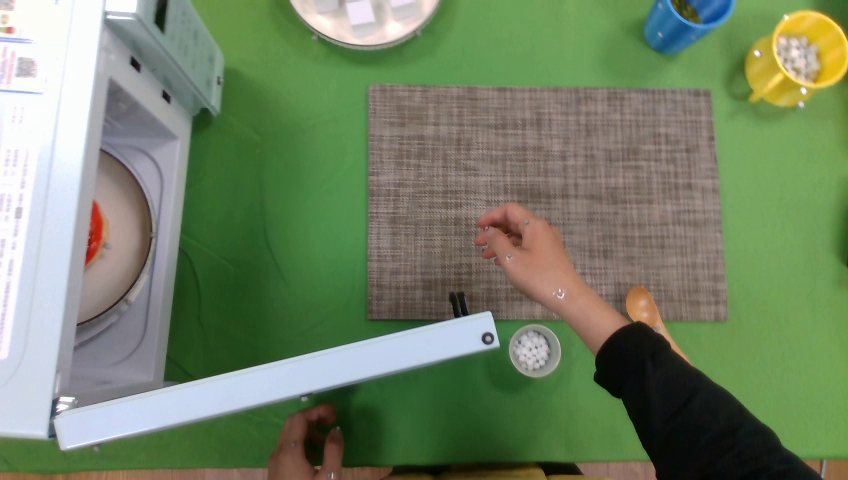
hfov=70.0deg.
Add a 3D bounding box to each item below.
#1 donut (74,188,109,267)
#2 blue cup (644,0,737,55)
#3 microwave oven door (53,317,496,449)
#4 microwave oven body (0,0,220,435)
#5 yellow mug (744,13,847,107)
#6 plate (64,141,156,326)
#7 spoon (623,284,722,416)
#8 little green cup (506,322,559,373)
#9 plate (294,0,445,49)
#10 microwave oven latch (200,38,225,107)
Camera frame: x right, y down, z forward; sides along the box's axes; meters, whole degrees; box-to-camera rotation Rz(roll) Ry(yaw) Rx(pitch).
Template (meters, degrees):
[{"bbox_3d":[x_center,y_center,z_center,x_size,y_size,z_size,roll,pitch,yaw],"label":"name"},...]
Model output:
[{"bbox_3d":[-0.391,-0.016,0.650,0.099,0.048,0.099,0,87,1],"label":"donut"},{"bbox_3d":[0.325,-0.282,0.763,0.093,0.100,0.092,0,83,-3],"label":"blue cup"},{"bbox_3d":[-0.118,0.127,0.595,0.356,0.244,0.039,-13,81,-4],"label":"microwave oven door"},{"bbox_3d":[-0.416,-0.054,0.612,0.326,0.260,0.440,4,82,-2],"label":"microwave oven body"},{"bbox_3d":[0.468,-0.220,0.779,0.131,0.064,0.100,-41,85,-6],"label":"yellow mug"},{"bbox_3d":[-0.396,-0.008,0.659,0.209,0.038,0.208,1,82,-3],"label":"plate"},{"bbox_3d":[0.305,0.136,0.740,0.041,0.021,0.193,-35,86,-23],"label":"spoon"},{"bbox_3d":[0.127,0.129,0.727,0.061,0.039,0.061,1,79,-3],"label":"little green cup"},{"bbox_3d":[-0.070,-0.341,0.785,0.208,0.039,0.207,0,82,-3],"label":"plate"},{"bbox_3d":[-0.261,-0.204,0.738,0.030,0.029,0.079,6,82,-2],"label":"microwave oven latch"}]
